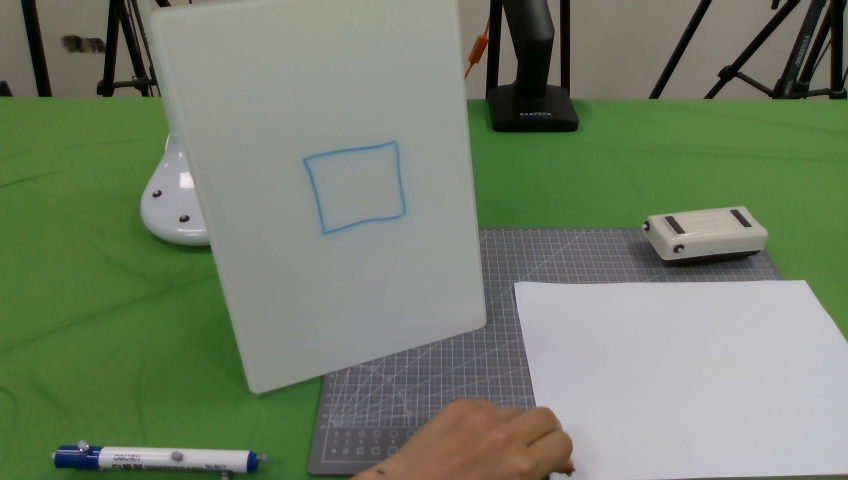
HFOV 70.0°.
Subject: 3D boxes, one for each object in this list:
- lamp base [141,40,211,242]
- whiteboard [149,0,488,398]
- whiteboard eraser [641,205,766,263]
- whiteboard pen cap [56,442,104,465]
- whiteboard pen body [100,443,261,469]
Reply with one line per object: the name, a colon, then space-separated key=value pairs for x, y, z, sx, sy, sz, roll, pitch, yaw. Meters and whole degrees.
lamp base: x=-0.252 y=-0.115 z=0.659 sx=0.177 sy=0.182 sz=0.160 roll=28 pitch=47 yaw=33
whiteboard: x=-0.081 y=-0.055 z=0.537 sx=0.218 sy=0.307 sz=0.142 roll=-14 pitch=23 yaw=-15
whiteboard eraser: x=0.292 y=-0.005 z=0.637 sx=0.113 sy=0.042 sz=0.055 roll=-5 pitch=41 yaw=-7
whiteboard pen cap: x=-0.252 y=0.158 z=0.449 sx=0.033 sy=0.018 sz=0.018 roll=1 pitch=40 yaw=-3
whiteboard pen body: x=-0.193 y=0.160 z=0.450 sx=0.141 sy=0.017 sz=0.017 roll=2 pitch=40 yaw=-1
